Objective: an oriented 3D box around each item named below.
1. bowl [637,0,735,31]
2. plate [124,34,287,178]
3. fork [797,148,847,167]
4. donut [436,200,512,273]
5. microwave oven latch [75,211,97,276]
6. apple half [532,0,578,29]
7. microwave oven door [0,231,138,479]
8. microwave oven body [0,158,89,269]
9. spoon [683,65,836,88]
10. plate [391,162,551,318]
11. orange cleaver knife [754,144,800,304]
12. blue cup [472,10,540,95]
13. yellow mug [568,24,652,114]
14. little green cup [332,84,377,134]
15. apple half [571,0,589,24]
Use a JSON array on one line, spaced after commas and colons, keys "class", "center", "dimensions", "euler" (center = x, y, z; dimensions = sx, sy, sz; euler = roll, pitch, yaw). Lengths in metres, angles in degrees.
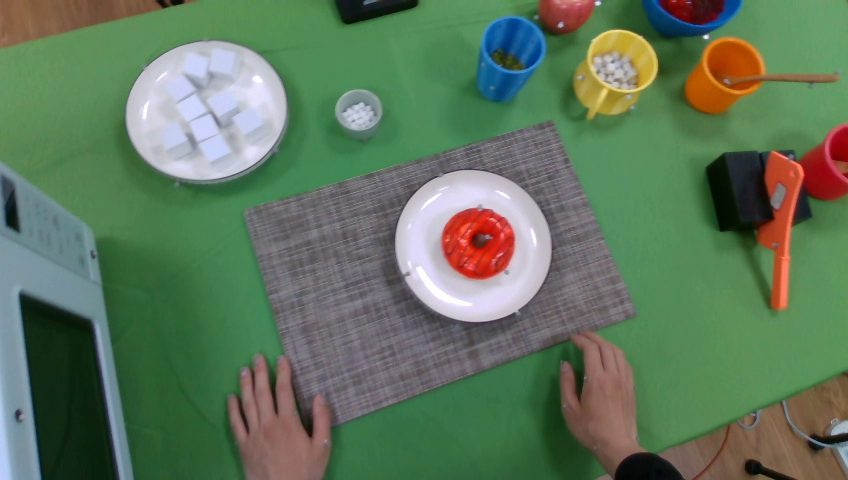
[{"class": "bowl", "center": [0.378, -0.369, 0.906], "dimensions": [0.151, 0.077, 0.150], "euler": [1, 75, -4]}, {"class": "plate", "center": [-0.288, -0.177, 0.814], "dimensions": [0.208, 0.039, 0.206], "euler": [1, 74, -5]}, {"class": "fork", "center": [0.622, -0.103, 0.820], "dimensions": [0.205, 0.019, 0.028], "euler": [16, 55, 44]}, {"class": "donut", "center": [0.065, -0.005, 0.783], "dimensions": [0.099, 0.048, 0.098], "euler": [1, 75, -3]}, {"class": "microwave oven latch", "center": [-0.418, 0.007, 0.732], "dimensions": [0.030, 0.029, 0.078], "euler": [-13, 77, -9]}, {"class": "apple half", "center": [0.186, -0.351, 0.887], "dimensions": [0.053, 0.075, 0.080], "euler": [-13, 79, -5]}, {"class": "microwave oven door", "center": [-0.349, 0.182, 0.584], "dimensions": [0.039, 0.245, 0.354], "euler": [-15, 76, -9]}, {"class": "microwave oven body", "center": [-0.501, 0.182, 0.576], "dimensions": [0.326, 0.261, 0.439], "euler": [-15, 77, -9]}, {"class": "spoon", "center": [0.456, -0.231, 0.839], "dimensions": [0.022, 0.192, 0.041], "euler": [42, 70, -39]}, {"class": "plate", "center": [0.060, 0.000, 0.792], "dimensions": [0.209, 0.038, 0.208], "euler": [1, 74, -4]}, {"class": "orange cleaver knife", "center": [0.470, -0.021, 0.816], "dimensions": [0.012, 0.077, 0.212], "euler": [-4, 104, -4]}, {"class": "blue cup", "center": [0.106, -0.250, 0.837], "dimensions": [0.093, 0.100, 0.092], "euler": [1, 76, -5]}, {"class": "yellow mug", "center": [0.258, -0.235, 0.865], "dimensions": [0.100, 0.064, 0.130], "euler": [29, 75, 3]}, {"class": "little green cup", "center": [-0.094, -0.178, 0.832], "dimensions": [0.061, 0.039, 0.061], "euler": [1, 74, -4]}, {"class": "apple half", "center": [0.224, -0.360, 0.891], "dimensions": [0.033, 0.081, 0.081], "euler": [-12, 75, -5]}]
